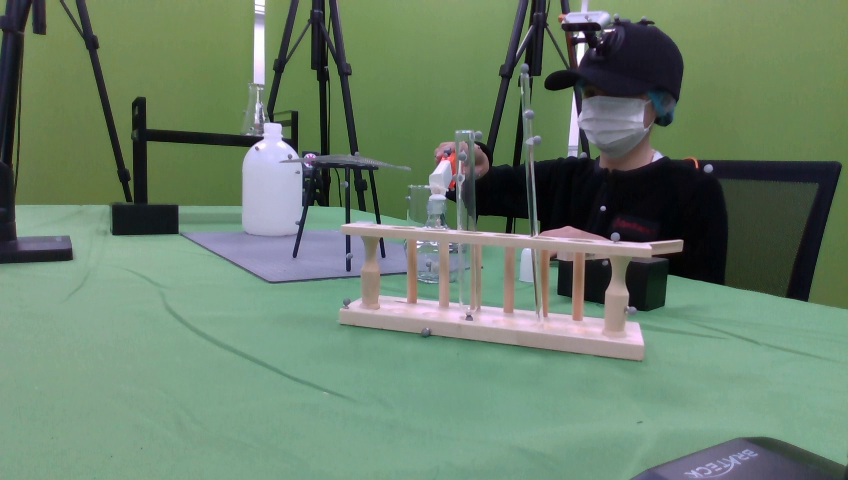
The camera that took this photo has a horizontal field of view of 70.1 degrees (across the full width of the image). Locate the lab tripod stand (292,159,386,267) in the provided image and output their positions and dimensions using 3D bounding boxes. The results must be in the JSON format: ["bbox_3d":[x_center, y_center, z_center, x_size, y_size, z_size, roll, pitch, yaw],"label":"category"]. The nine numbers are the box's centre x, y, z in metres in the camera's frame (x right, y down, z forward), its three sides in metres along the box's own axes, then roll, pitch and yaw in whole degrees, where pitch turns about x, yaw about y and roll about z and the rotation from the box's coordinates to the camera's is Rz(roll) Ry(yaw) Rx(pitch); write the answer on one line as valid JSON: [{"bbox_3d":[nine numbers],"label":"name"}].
[{"bbox_3d":[-0.105,-0.039,0.797,0.148,0.131,0.148,2,5,0],"label":"lab tripod stand"}]

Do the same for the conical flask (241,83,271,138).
[{"bbox_3d":[-0.384,-0.297,1.393,0.075,0.122,0.075,2,7,0],"label":"conical flask"}]

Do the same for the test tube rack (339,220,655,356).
[{"bbox_3d":[0.056,0.032,0.495,0.242,0.085,0.067,4,7,15],"label":"test tube rack"}]

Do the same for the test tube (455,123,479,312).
[{"bbox_3d":[0.034,-0.016,0.476,0.017,0.150,0.017,-2,10,1],"label":"test tube"}]

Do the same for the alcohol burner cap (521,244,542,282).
[{"bbox_3d":[0.136,0.025,0.740,0.034,0.048,0.034,1,6,0],"label":"alcohol burner cap"}]

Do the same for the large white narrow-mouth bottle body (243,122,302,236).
[{"bbox_3d":[-0.264,-0.109,1.061,0.102,0.194,0.102,2,8,0],"label":"large white narrow-mouth bottle body"}]

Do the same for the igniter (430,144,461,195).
[{"bbox_3d":[0.034,-0.103,0.859,0.025,0.057,0.276,-7,13,9],"label":"igniter"}]

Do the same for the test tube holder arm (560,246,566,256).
[{"bbox_3d":[0.173,0.007,0.611,0.088,0.015,0.010,-3,9,-30],"label":"test tube holder arm"}]

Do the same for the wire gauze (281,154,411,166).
[{"bbox_3d":[-0.102,-0.105,0.785,0.121,0.011,0.126,7,8,43],"label":"wire gauze"}]

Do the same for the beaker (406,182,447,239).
[{"bbox_3d":[0.008,-0.054,1.102,0.074,0.100,0.083,-6,12,-44],"label":"beaker"}]

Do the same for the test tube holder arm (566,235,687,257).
[{"bbox_3d":[0.215,0.006,0.630,0.179,0.015,0.013,-3,9,-30],"label":"test tube holder arm"}]

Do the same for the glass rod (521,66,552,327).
[{"bbox_3d":[0.085,-0.028,0.454,0.008,0.199,0.008,-7,10,2],"label":"glass rod"}]

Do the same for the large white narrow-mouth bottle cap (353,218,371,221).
[{"bbox_3d":[-0.120,-0.029,1.184,0.038,0.024,0.037,2,8,0],"label":"large white narrow-mouth bottle cap"}]

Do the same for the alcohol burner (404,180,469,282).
[{"bbox_3d":[0.015,-0.011,0.715,0.078,0.119,0.078,0,7,0],"label":"alcohol burner"}]
